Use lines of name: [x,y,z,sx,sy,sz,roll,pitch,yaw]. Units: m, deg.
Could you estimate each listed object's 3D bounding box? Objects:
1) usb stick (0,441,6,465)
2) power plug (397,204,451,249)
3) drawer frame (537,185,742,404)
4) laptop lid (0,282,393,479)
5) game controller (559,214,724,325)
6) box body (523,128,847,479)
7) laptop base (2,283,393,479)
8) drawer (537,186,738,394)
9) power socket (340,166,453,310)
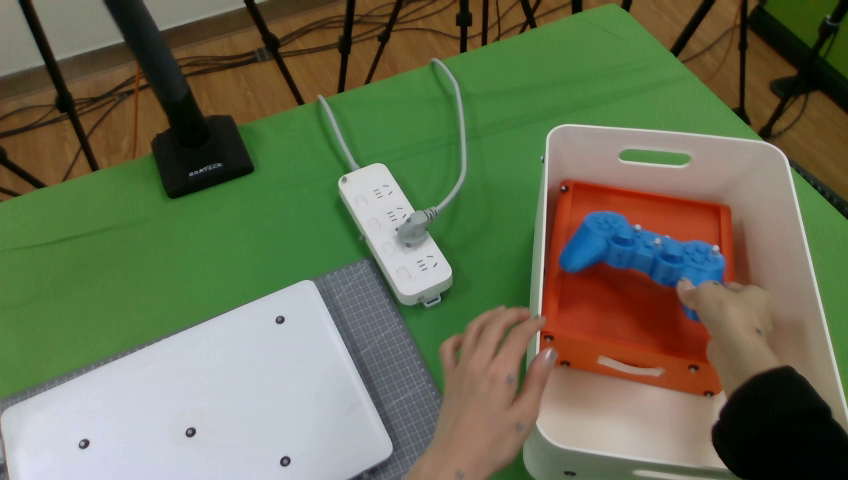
usb stick: [-0.444,0.218,0.613,0.059,0.027,0.021,-20,52,-16]
power plug: [0.003,-0.009,0.744,0.073,0.053,0.035,-13,55,-10]
drawer frame: [0.235,0.054,0.685,0.201,0.083,0.212,11,52,7]
laptop lid: [-0.236,0.200,0.624,0.357,0.013,0.239,-22,60,-14]
game controller: [0.227,0.020,0.621,0.154,0.052,0.097,23,38,22]
box body: [0.239,0.075,0.631,0.254,0.162,0.361,6,56,5]
laptop base: [-0.237,0.205,0.635,0.355,0.023,0.233,-24,62,-15]
drawer: [0.239,0.051,0.684,0.194,0.074,0.210,10,58,9]
power socket: [-0.038,-0.009,0.771,0.072,0.033,0.224,-22,58,-15]
